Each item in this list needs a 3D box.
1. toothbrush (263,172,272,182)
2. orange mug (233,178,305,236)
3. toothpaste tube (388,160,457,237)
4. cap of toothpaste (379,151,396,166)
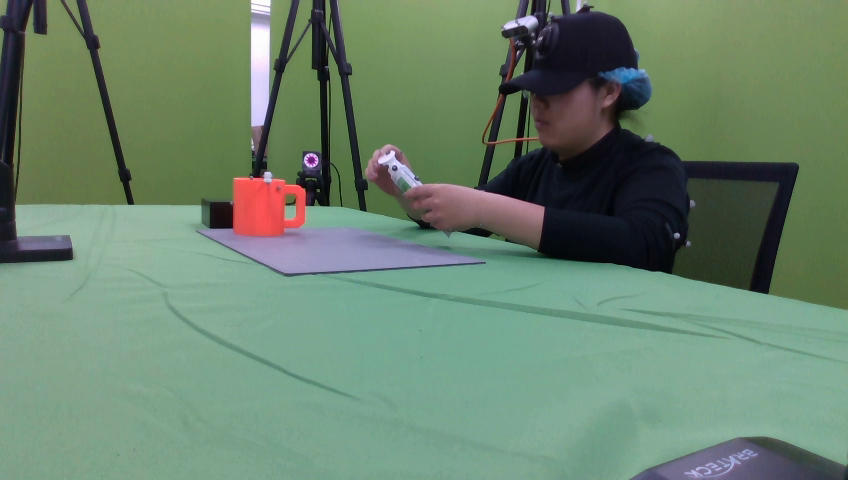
[{"bbox_3d":[-0.273,-0.112,1.055,0.014,0.016,0.181,-8,10,-13],"label":"toothbrush"},{"bbox_3d":[-0.273,-0.061,1.067,0.127,0.101,0.083,-5,10,-24],"label":"orange mug"},{"bbox_3d":[-0.004,-0.077,1.035,0.034,0.165,0.055,-38,-12,-23],"label":"toothpaste tube"},{"bbox_3d":[-0.062,-0.140,1.050,0.037,0.011,0.037,-32,26,19],"label":"cap of toothpaste"}]
